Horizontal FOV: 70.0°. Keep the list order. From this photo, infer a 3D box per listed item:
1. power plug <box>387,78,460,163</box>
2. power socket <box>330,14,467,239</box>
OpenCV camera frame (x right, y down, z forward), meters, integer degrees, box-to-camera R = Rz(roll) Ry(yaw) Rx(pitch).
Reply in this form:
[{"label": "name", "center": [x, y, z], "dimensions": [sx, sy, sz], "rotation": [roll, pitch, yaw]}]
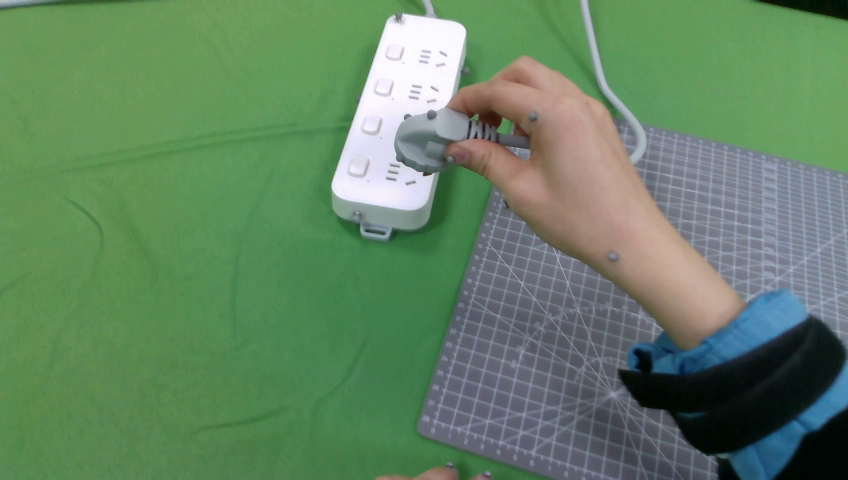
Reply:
[{"label": "power plug", "center": [0.005, -0.068, 0.327], "dimensions": [0.035, 0.072, 0.052], "rotation": [33, 83, -12]}, {"label": "power socket", "center": [-0.015, -0.101, 0.481], "dimensions": [0.072, 0.033, 0.225], "rotation": [11, 57, 4]}]
